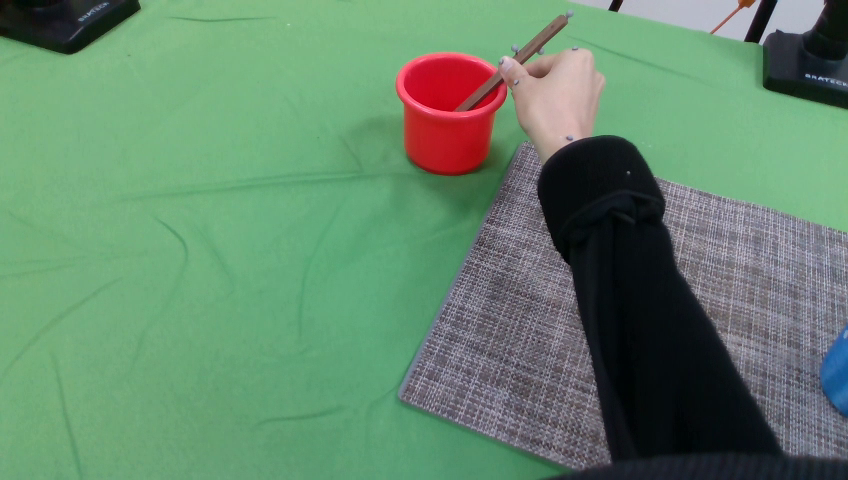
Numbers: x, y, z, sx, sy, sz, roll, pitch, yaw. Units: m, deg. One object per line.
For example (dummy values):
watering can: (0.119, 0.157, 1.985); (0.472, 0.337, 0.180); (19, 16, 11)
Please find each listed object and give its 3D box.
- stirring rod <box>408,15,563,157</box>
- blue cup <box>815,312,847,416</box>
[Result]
stirring rod: (0.051, -0.133, 0.535); (0.176, 0.006, 0.014); (-40, 44, 17)
blue cup: (0.308, 0.071, 0.388); (0.093, 0.101, 0.091); (3, 49, -3)
